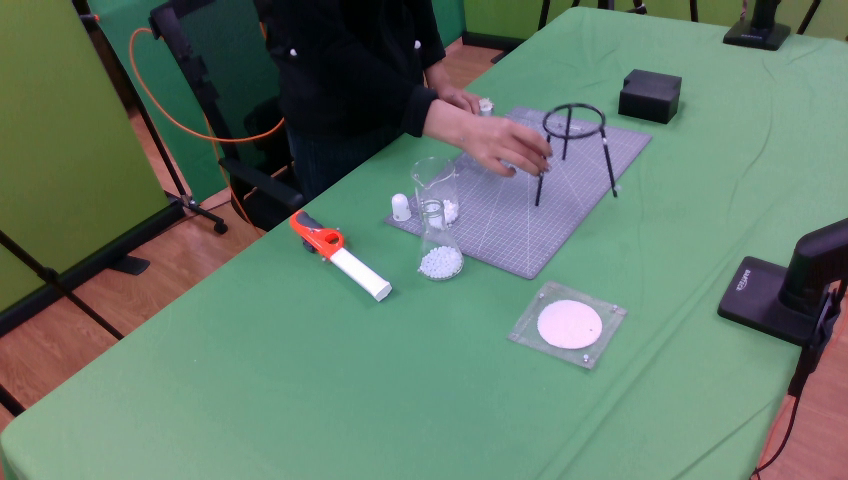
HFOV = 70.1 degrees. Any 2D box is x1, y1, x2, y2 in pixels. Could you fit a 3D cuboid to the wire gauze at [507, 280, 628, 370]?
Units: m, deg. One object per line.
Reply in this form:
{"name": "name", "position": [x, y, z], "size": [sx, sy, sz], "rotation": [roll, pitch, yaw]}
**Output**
{"name": "wire gauze", "position": [0.196, 0.114, 0.823], "size": [0.120, 0.011, 0.125], "rotation": [20, 50, 31]}

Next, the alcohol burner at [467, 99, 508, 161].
{"name": "alcohol burner", "position": [0.119, -0.210, 1.134], "size": [0.078, 0.119, 0.077], "rotation": [-4, 39, 4]}

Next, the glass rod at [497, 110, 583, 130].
{"name": "glass rod", "position": [0.233, -0.245, 1.235], "size": [0.198, 0.008, 0.008], "rotation": [21, 49, 34]}

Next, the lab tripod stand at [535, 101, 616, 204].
{"name": "lab tripod stand", "position": [0.226, -0.138, 0.934], "size": [0.148, 0.132, 0.147], "rotation": [-7, 43, 7]}

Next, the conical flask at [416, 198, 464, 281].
{"name": "conical flask", "position": [0.019, -0.004, 0.907], "size": [0.075, 0.122, 0.075], "rotation": [-5, 40, 5]}

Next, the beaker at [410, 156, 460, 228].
{"name": "beaker", "position": [0.020, -0.076, 1.006], "size": [0.074, 0.101, 0.084], "rotation": [3, 42, 15]}

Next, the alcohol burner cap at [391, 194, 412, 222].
{"name": "alcohol burner cap", "position": [-0.041, -0.057, 1.040], "size": [0.034, 0.048, 0.033], "rotation": [-6, 41, 5]}

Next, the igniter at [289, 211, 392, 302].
{"name": "igniter", "position": [-0.145, 0.019, 0.986], "size": [0.057, 0.025, 0.274], "rotation": [-40, 48, -18]}
